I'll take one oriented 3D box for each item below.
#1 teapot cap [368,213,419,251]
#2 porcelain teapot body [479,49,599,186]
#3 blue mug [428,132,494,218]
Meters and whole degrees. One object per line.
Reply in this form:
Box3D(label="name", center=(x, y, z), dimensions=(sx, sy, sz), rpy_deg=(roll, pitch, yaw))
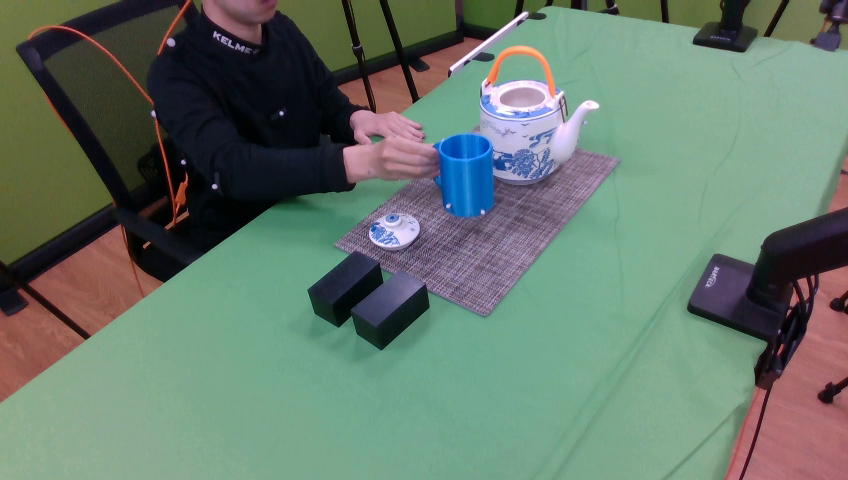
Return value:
Box3D(label="teapot cap", center=(-0.050, -0.018, 0.975), dimensions=(0.085, 0.044, 0.084), rpy_deg=(-4, 43, 4))
Box3D(label="porcelain teapot body", center=(0.192, -0.208, 1.023), dimensions=(0.204, 0.226, 0.145), rpy_deg=(17, 46, 25))
Box3D(label="blue mug", center=(0.053, -0.105, 0.937), dimensions=(0.115, 0.106, 0.082), rpy_deg=(23, 48, 31))
